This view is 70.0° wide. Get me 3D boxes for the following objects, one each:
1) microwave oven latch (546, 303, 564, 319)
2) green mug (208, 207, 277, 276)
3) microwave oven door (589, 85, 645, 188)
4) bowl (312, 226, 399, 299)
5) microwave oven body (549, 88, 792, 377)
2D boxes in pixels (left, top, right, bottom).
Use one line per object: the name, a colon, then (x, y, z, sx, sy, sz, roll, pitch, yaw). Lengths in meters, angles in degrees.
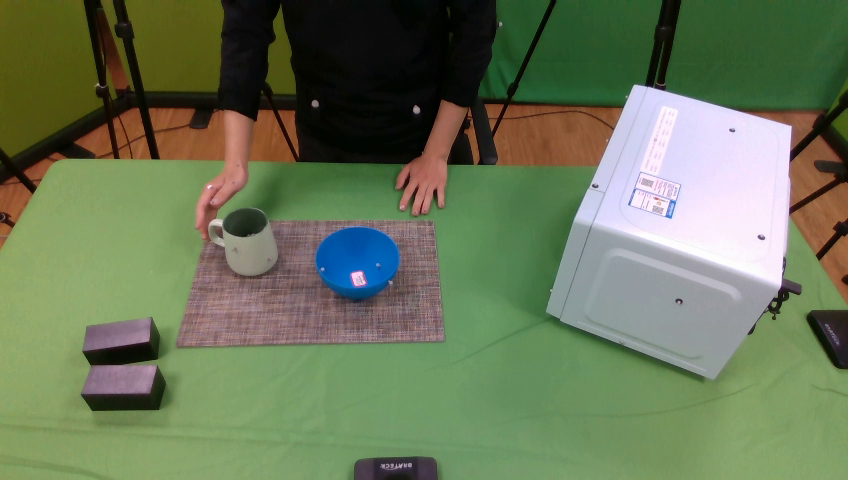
microwave oven latch: (0.242, 0.102, 1.081, 0.030, 0.029, 0.079, 21, 48, 17)
green mug: (-0.335, 0.000, 1.108, 0.125, 0.105, 0.092, 14, 47, 9)
microwave oven door: (0.342, -0.107, 1.149, 0.039, 0.245, 0.354, 20, 48, 15)
bowl: (-0.120, 0.054, 1.091, 0.151, 0.077, 0.150, 2, 46, -2)
microwave oven body: (0.456, -0.028, 1.088, 0.325, 0.261, 0.440, 20, 47, 16)
